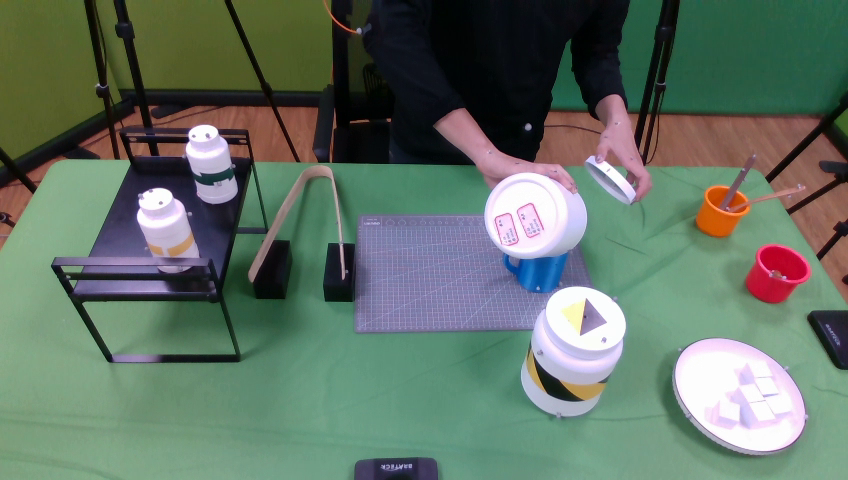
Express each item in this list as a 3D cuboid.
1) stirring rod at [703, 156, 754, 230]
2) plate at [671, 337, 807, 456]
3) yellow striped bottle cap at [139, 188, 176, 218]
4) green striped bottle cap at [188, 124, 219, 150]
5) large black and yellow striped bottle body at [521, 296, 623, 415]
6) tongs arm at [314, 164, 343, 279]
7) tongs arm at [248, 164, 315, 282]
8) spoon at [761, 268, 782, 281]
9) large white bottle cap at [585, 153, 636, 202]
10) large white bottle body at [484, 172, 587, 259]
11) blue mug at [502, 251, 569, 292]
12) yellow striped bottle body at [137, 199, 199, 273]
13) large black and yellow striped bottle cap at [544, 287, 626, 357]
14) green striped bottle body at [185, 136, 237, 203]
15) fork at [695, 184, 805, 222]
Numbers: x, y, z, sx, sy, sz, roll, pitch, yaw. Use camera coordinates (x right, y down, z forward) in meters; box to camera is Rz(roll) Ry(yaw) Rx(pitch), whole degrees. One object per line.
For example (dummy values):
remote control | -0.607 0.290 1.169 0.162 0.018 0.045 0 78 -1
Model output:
stirring rod | 0.631 -0.098 1.258 0.014 0.006 0.176 33 95 29
plate | 0.504 0.253 0.984 0.208 0.039 0.206 2 46 -2
yellow striped bottle cap | -0.363 -0.051 0.826 0.044 0.019 0.044 0 47 0
green striped bottle cap | -0.339 -0.158 0.931 0.044 0.020 0.044 3 47 -3
large black and yellow striped bottle body | 0.228 0.173 0.938 0.131 0.185 0.130 2 47 -2
tongs arm | -0.188 -0.049 1.170 0.051 0.026 0.382 -6 35 -6
tongs arm | -0.270 -0.047 1.165 0.028 0.028 0.385 -1 34 7
spoon | 0.638 0.060 1.105 0.041 0.021 0.194 38 11 24
large white bottle cap | 0.345 -0.115 1.122 0.018 0.115 0.114 -45 55 9
large white bottle body | 0.188 -0.037 0.977 0.130 0.131 0.185 32 14 23
blue mug | 0.203 0.031 1.121 0.116 0.106 0.082 5 46 1
yellow striped bottle body | -0.366 -0.014 0.863 0.063 0.121 0.062 2 46 -2
large black and yellow striped bottle cap | 0.232 0.116 0.876 0.115 0.019 0.114 2 46 -1
green striped bottle body | -0.341 -0.121 0.968 0.063 0.120 0.063 2 46 -2
fork | 0.657 -0.075 1.230 0.207 0.019 0.028 -23 34 37
